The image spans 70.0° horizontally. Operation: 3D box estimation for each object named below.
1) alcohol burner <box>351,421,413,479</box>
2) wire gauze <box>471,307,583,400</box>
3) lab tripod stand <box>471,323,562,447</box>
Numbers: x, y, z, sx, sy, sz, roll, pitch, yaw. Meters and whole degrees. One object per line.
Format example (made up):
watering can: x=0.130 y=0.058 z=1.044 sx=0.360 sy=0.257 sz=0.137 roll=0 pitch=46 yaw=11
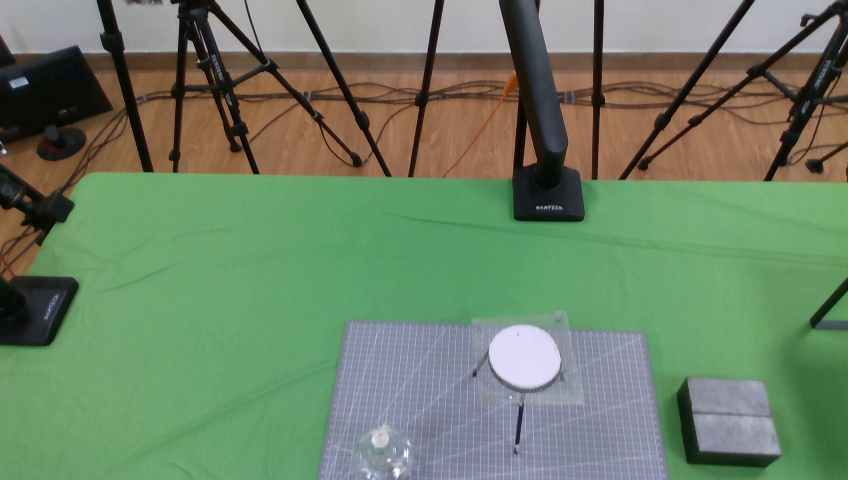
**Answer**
alcohol burner: x=-0.053 y=0.256 z=0.751 sx=0.078 sy=0.120 sz=0.077 roll=0 pitch=52 yaw=0
wire gauze: x=0.122 y=0.137 z=0.737 sx=0.125 sy=0.011 sz=0.120 roll=-2 pitch=53 yaw=0
lab tripod stand: x=0.127 y=0.176 z=0.792 sx=0.148 sy=0.133 sz=0.147 roll=-1 pitch=51 yaw=1
